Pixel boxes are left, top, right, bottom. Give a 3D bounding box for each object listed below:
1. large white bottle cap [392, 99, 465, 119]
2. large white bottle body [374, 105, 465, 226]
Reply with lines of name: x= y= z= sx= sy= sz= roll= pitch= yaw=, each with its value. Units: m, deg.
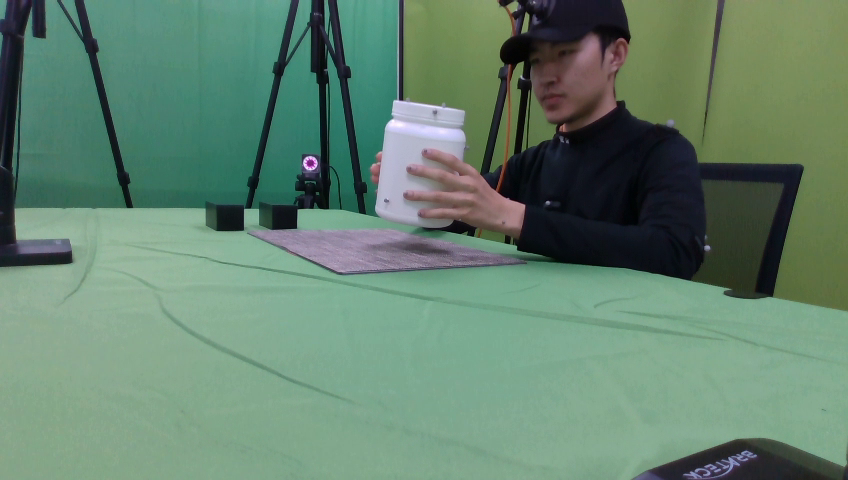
large white bottle cap: x=0.007 y=-0.205 z=0.948 sx=0.115 sy=0.018 sz=0.114 roll=7 pitch=13 yaw=-1
large white bottle body: x=-0.005 y=-0.124 z=0.966 sx=0.131 sy=0.184 sz=0.130 roll=8 pitch=13 yaw=-1
